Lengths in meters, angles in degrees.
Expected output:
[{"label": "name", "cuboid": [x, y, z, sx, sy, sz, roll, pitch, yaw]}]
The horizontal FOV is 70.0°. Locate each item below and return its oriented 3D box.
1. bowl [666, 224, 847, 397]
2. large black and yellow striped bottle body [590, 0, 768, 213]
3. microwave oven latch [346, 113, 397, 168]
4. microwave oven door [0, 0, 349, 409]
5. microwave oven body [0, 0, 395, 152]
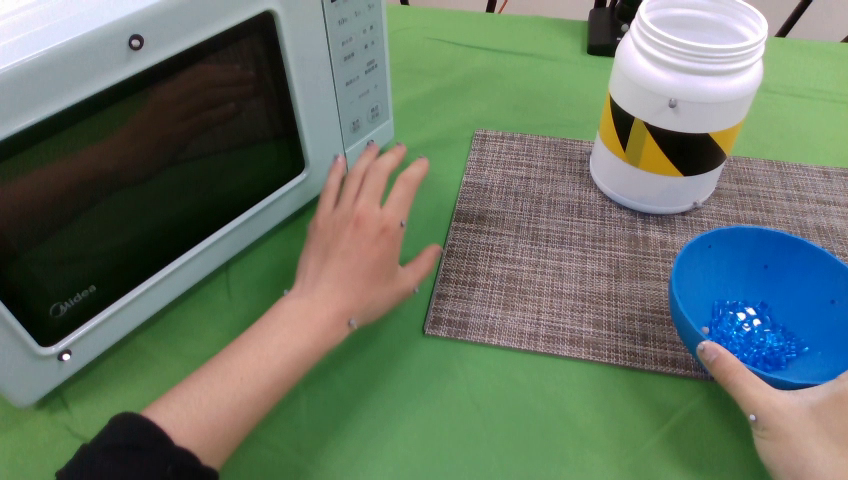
[{"label": "bowl", "cuboid": [0.261, 0.067, 0.477, 0.151, 0.077, 0.150, -1, 47, 1]}, {"label": "large black and yellow striped bottle body", "cuboid": [0.243, -0.132, 0.590, 0.131, 0.185, 0.129, 0, 47, 1]}, {"label": "microwave oven latch", "cuboid": [-0.063, -0.112, 0.659, 0.030, 0.030, 0.079, 32, 56, 27]}, {"label": "microwave oven door", "cuboid": [-0.206, -0.058, 0.470, 0.039, 0.246, 0.355, 30, 54, 26]}, {"label": "microwave oven body", "cuboid": [-0.292, -0.144, 0.559, 0.323, 0.262, 0.441, 31, 55, 26]}]
